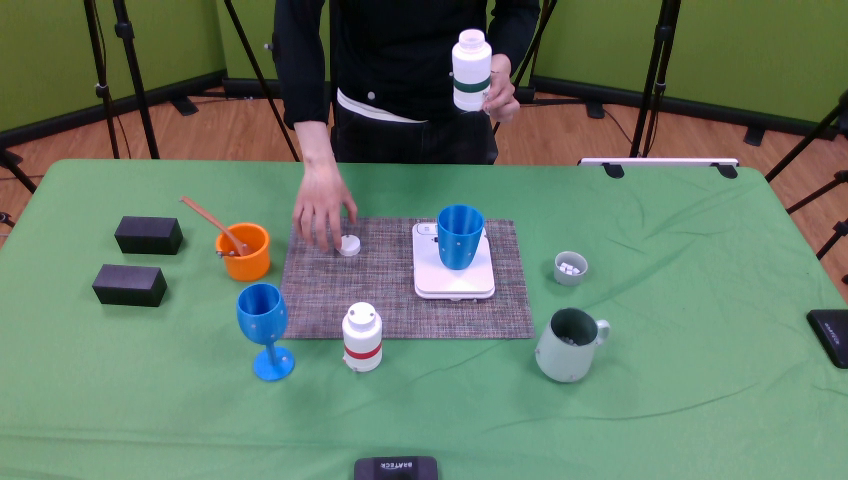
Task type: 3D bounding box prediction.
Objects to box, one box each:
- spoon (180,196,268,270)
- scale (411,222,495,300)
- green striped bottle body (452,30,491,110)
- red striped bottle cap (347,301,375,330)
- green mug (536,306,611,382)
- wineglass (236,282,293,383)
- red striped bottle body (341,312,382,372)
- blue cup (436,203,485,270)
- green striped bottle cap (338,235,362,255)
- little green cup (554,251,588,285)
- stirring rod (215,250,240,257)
[{"bbox_3d":[-0.360,-0.014,1.094,0.021,0.194,0.041,-28,26,31],"label":"spoon"},{"bbox_3d":[0.052,0.031,1.158,0.149,0.032,0.199,1,46,-4],"label":"scale"},{"bbox_3d":[0.077,-0.277,0.983,0.063,0.120,0.063,-2,48,3],"label":"green striped bottle body"},{"bbox_3d":[-0.097,0.116,0.934,0.044,0.018,0.044,2,49,-3],"label":"red striped bottle cap"},{"bbox_3d":[0.250,0.167,0.996,0.125,0.105,0.092,-15,49,-18],"label":"green mug"},{"bbox_3d":[-0.243,0.143,0.934,0.074,0.173,0.073,2,46,-2],"label":"wineglass"},{"bbox_3d":[-0.100,0.154,0.972,0.063,0.120,0.062,2,46,-2],"label":"red striped bottle body"},{"bbox_3d":[0.061,-0.001,1.098,0.093,0.101,0.092,2,43,-2],"label":"blue cup"},{"bbox_3d":[-0.144,0.009,1.170,0.044,0.020,0.044,-9,35,7],"label":"green striped bottle cap"},{"bbox_3d":[0.277,0.055,1.151,0.061,0.039,0.061,1,46,-1],"label":"little green cup"},{"bbox_3d":[-0.339,0.024,1.059,0.014,0.176,0.006,16,86,-6],"label":"stirring rod"}]
